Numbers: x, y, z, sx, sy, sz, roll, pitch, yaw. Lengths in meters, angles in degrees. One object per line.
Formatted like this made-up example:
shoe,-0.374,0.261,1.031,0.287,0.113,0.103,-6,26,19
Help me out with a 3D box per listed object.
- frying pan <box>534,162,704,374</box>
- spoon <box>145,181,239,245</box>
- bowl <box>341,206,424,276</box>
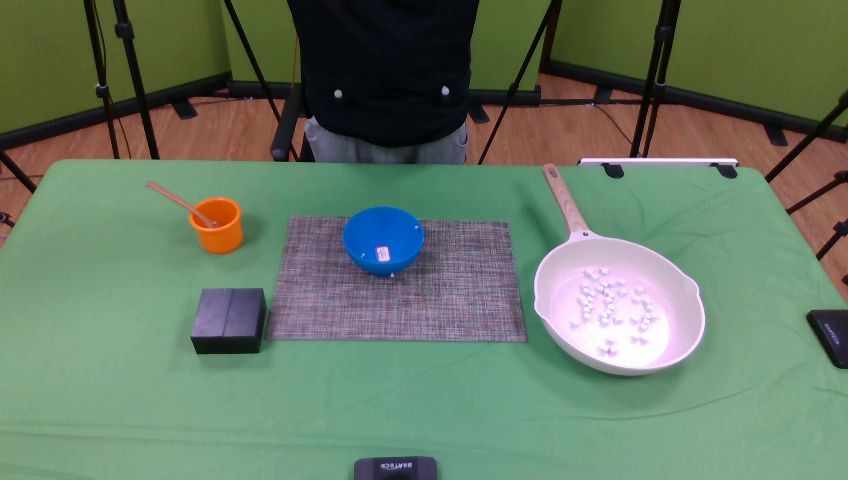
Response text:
frying pan,0.314,0.034,1.133,0.307,0.103,0.484,-7,56,-12
spoon,-0.429,-0.052,1.126,0.021,0.195,0.041,-28,34,33
bowl,-0.079,0.014,1.133,0.151,0.077,0.150,2,46,-2
